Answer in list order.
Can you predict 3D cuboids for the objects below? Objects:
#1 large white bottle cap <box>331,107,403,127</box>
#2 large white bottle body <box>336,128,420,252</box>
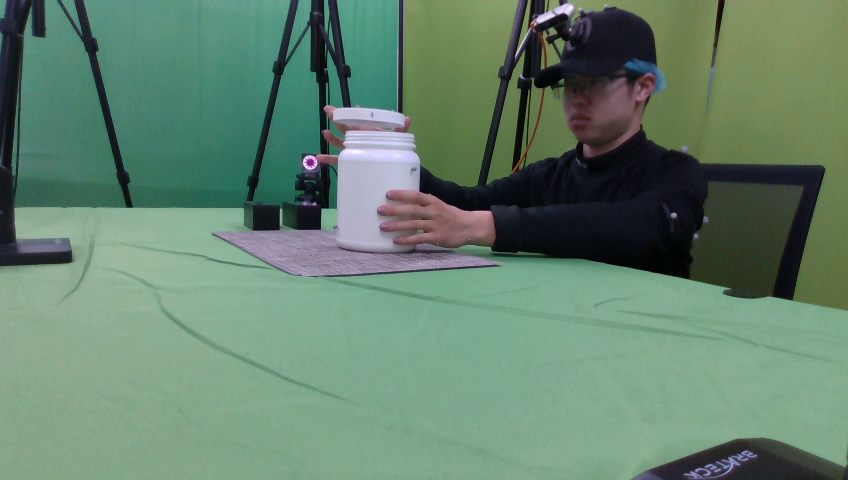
[{"bbox_3d":[-0.090,-0.196,0.965,0.115,0.018,0.115,3,5,0],"label":"large white bottle cap"},{"bbox_3d":[-0.072,-0.081,0.955,0.131,0.184,0.130,2,9,0],"label":"large white bottle body"}]
